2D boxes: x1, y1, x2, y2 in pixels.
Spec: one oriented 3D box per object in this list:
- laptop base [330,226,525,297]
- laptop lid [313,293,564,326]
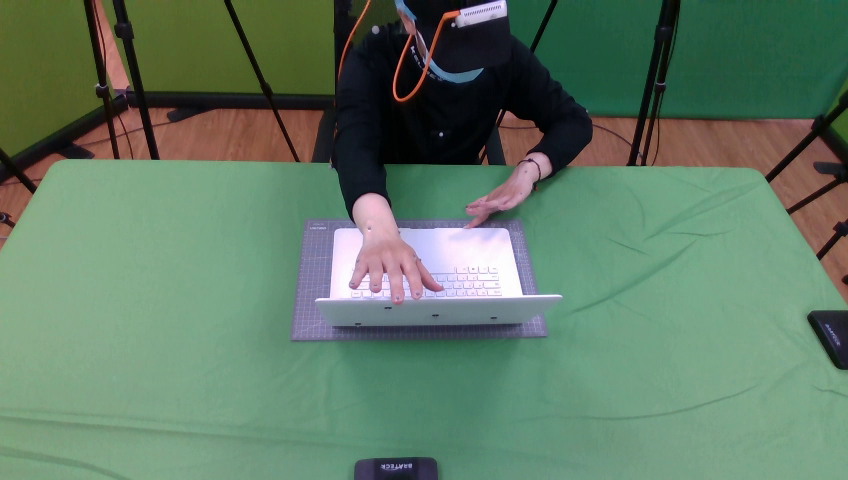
[{"bbox_3d":[0.005,0.061,1.137,0.355,0.023,0.234,0,43,-4],"label":"laptop base"},{"bbox_3d":[0.017,0.112,0.945,0.357,0.242,0.013,0,74,-5],"label":"laptop lid"}]
